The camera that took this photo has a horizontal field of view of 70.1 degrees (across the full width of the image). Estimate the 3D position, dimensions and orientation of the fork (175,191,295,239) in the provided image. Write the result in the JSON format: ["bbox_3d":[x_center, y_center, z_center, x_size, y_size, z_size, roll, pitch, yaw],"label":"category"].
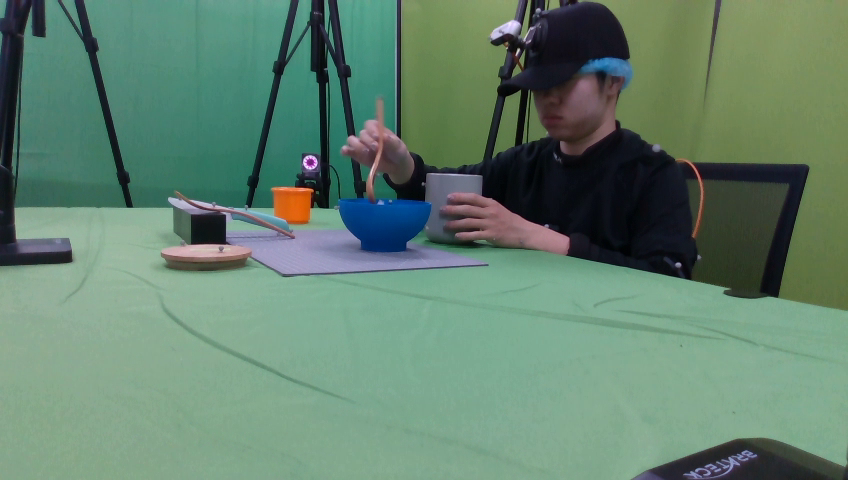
[{"bbox_3d":[-0.306,-0.039,0.993,0.208,0.018,0.028,19,-7,-34],"label":"fork"}]

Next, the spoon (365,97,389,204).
[{"bbox_3d":[-0.074,-0.146,0.996,0.021,0.193,0.041,11,-14,-1],"label":"spoon"}]

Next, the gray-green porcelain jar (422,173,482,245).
[{"bbox_3d":[0.050,-0.058,1.115,0.106,0.126,0.106,3,8,0],"label":"gray-green porcelain jar"}]

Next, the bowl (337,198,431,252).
[{"bbox_3d":[-0.066,-0.024,0.967,0.151,0.077,0.151,3,7,0],"label":"bowl"}]

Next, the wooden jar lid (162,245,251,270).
[{"bbox_3d":[-0.278,0.022,0.777,0.108,0.020,0.108,2,6,0],"label":"wooden jar lid"}]

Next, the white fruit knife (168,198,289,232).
[{"bbox_3d":[-0.329,-0.044,1.036,0.208,0.027,0.016,14,-2,-32],"label":"white fruit knife"}]
